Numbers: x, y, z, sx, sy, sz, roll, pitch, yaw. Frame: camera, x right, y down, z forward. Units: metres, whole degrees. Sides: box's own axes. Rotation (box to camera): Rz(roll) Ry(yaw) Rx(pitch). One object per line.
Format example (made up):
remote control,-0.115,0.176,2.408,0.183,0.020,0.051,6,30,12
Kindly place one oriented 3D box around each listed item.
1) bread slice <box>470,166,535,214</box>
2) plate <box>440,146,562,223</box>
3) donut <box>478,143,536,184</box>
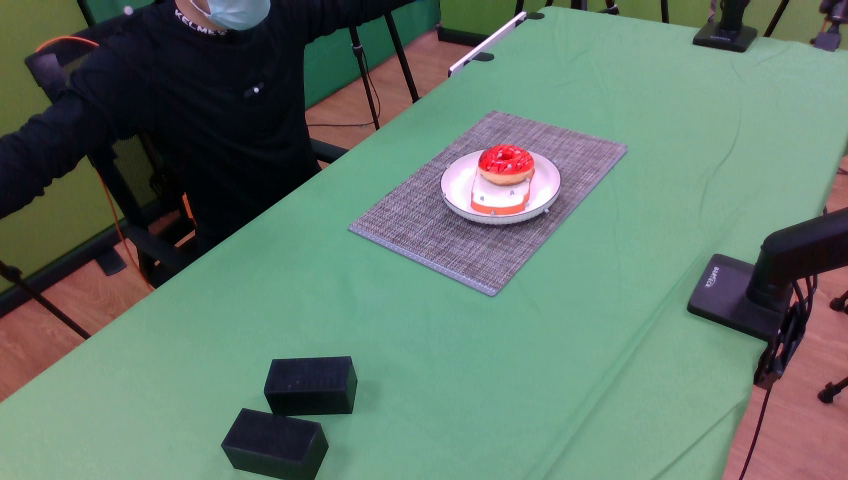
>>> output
bread slice,0.134,-0.089,1.039,0.104,0.019,0.131,4,40,12
plate,0.131,-0.093,1.040,0.207,0.039,0.206,-4,41,4
donut,0.142,-0.132,1.040,0.099,0.048,0.098,-3,37,3
